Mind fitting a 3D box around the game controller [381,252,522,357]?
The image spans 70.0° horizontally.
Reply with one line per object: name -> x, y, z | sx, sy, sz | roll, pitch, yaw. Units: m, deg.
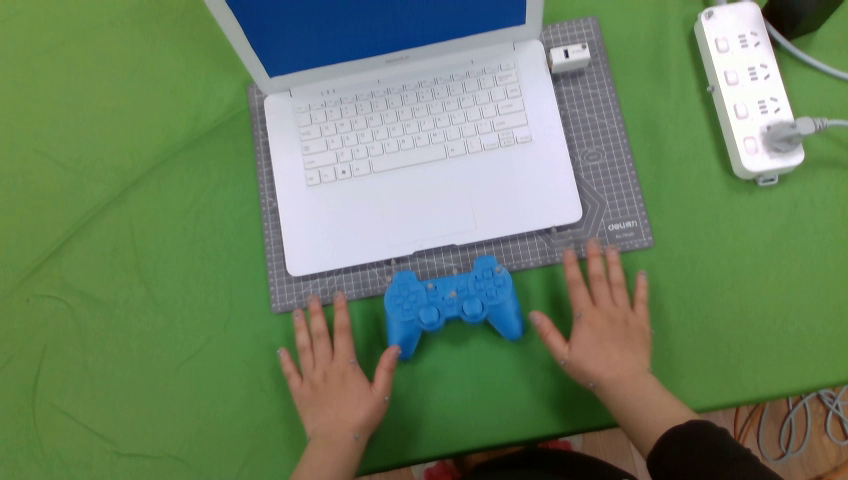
game controller -> 0.027, 0.069, 0.674 | 0.155, 0.052, 0.096 | -11, 74, 2

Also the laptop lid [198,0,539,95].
laptop lid -> -0.049, -0.258, 0.646 | 0.356, 0.243, 0.013 | -12, 68, 4

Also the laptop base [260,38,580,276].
laptop base -> -0.012, -0.102, 0.730 | 0.354, 0.023, 0.234 | -12, 80, 2

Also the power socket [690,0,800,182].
power socket -> 0.370, -0.179, 0.705 | 0.072, 0.033, 0.225 | -9, 77, 4

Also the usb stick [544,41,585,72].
usb stick -> 0.161, -0.218, 0.728 | 0.059, 0.027, 0.021 | -11, 77, 7

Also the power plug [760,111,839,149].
power plug -> 0.409, -0.117, 0.668 | 0.072, 0.053, 0.035 | 2, 77, 2
